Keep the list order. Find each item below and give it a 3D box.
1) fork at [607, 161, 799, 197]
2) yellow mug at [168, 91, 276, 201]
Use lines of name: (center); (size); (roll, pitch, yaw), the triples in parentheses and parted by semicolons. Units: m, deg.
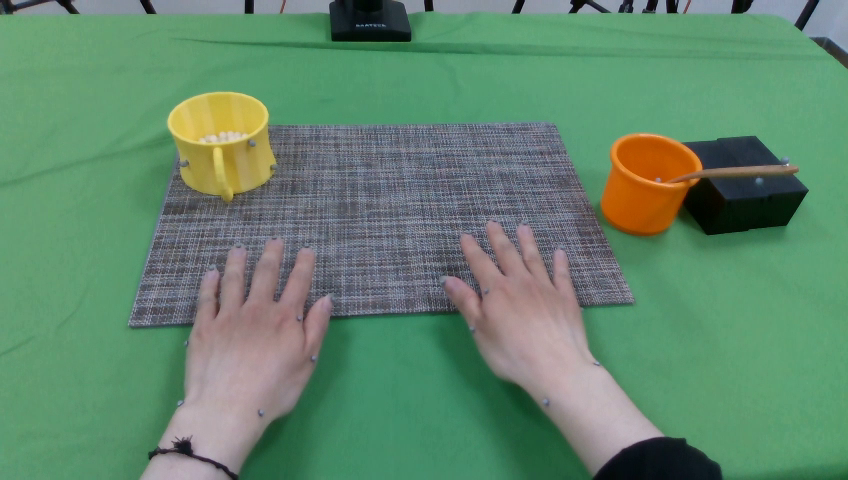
fork: (0.258, -0.059, 0.587); (0.028, 0.019, 0.206); (-26, 8, -26)
yellow mug: (-0.210, -0.095, 0.637); (0.100, 0.064, 0.129); (-7, 46, -12)
